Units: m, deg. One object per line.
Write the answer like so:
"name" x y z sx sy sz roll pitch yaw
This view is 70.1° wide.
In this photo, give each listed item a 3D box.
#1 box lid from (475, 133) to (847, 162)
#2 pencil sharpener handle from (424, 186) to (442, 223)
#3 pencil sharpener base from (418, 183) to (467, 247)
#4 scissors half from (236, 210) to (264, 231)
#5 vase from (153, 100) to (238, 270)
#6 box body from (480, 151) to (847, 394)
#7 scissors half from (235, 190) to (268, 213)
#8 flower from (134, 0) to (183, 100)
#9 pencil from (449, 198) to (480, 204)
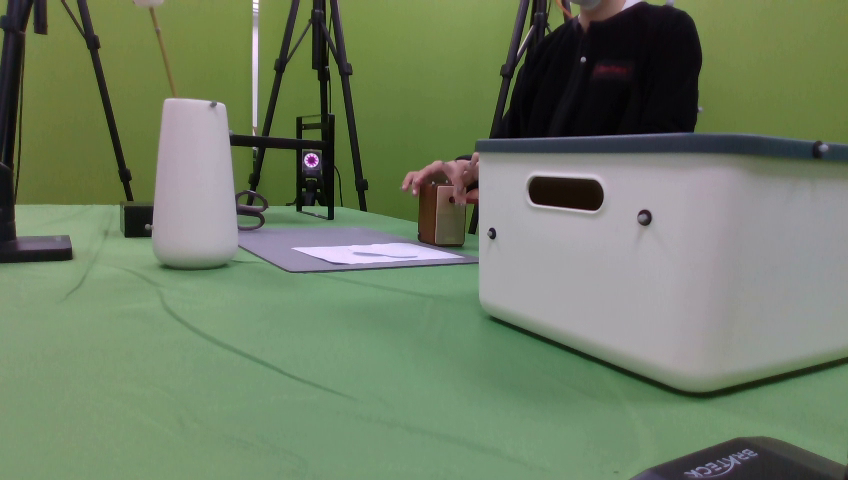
"box lid" 0.255 -0.073 0.528 0.373 0.015 0.262 -2 8 -31
"pencil sharpener handle" 0.013 -0.064 1.094 0.036 0.068 0.030 -19 15 -22
"pencil sharpener base" 0.030 -0.045 1.048 0.061 0.107 0.076 -1 8 -25
"scissors half" -0.369 -0.051 1.064 0.176 0.040 0.012 19 13 -27
"vase" -0.278 -0.066 0.736 0.098 0.200 0.098 2 9 0
"box body" 0.254 0.002 0.539 0.366 0.160 0.253 -2 8 -31
"scissors half" -0.363 -0.070 1.060 0.176 0.040 0.013 0 16 -23
"flower" -0.282 -0.147 0.713 0.038 0.362 0.044 -23 24 -31
"pencil" 0.079 -0.061 0.950 0.012 0.012 0.193 -1 6 -27
